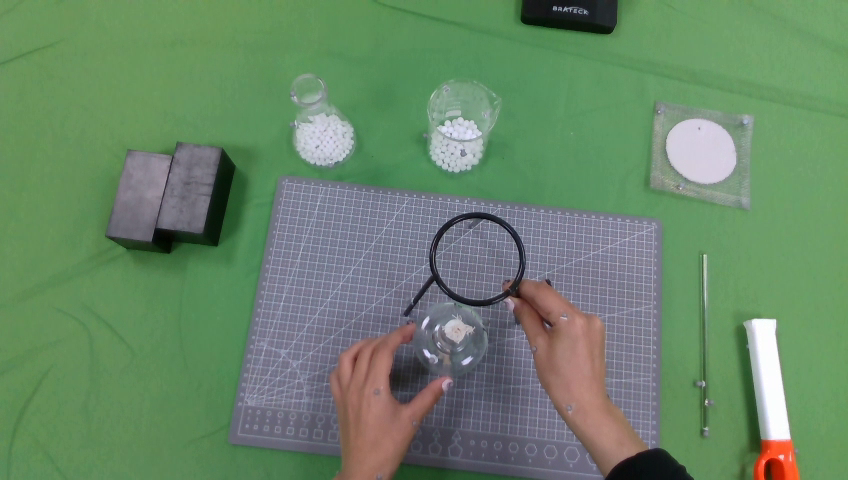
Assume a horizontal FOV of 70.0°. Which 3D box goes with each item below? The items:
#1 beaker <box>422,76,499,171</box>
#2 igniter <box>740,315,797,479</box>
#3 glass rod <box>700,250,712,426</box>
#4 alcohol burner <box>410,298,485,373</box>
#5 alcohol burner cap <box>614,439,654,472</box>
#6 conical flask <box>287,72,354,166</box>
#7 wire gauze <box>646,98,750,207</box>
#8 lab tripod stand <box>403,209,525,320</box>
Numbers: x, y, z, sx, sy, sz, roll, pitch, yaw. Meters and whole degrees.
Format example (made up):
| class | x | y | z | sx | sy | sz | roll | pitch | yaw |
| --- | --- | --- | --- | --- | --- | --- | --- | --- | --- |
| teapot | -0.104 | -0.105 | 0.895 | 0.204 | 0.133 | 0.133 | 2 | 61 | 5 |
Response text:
| class | x | y | z | sx | sy | sz | roll | pitch | yaw |
| --- | --- | --- | --- | --- | --- | --- | --- | --- | --- |
| beaker | 0.038 | -0.127 | 0.680 | 0.084 | 0.100 | 0.073 | -19 | 76 | -7 |
| igniter | 0.368 | 0.216 | 0.638 | 0.057 | 0.025 | 0.275 | 3 | 75 | -12 |
| glass rod | 0.315 | 0.106 | 0.677 | 0.008 | 0.008 | 0.198 | 10 | 74 | 1 |
| alcohol burner | 0.026 | 0.094 | 0.611 | 0.078 | 0.119 | 0.077 | 1 | 73 | -3 |
| alcohol burner cap | 0.218 | 0.222 | 0.620 | 0.034 | 0.048 | 0.033 | 1 | 75 | -2 |
| conical flask | -0.119 | -0.136 | 0.665 | 0.075 | 0.122 | 0.075 | 0 | 75 | -1 |
| wire gauze | 0.332 | -0.109 | 0.732 | 0.125 | 0.011 | 0.121 | 11 | 76 | -1 |
| lab tripod stand | 0.044 | 0.033 | 0.617 | 0.148 | 0.132 | 0.147 | 0 | 77 | -1 |
